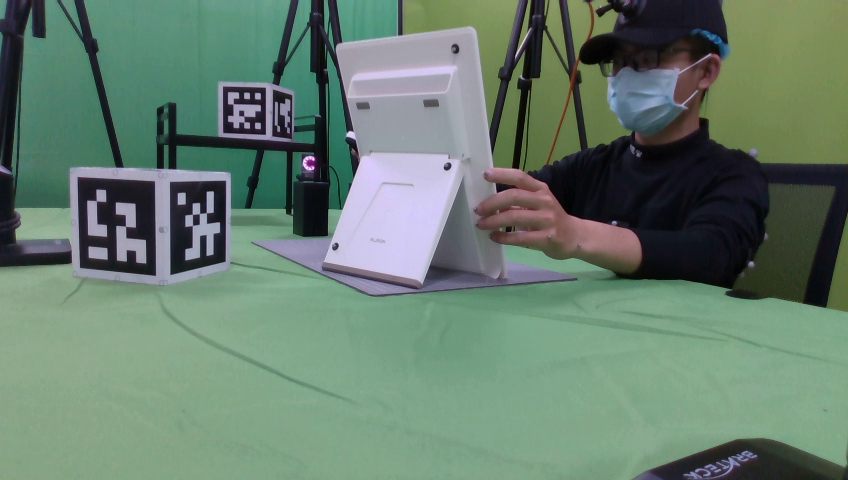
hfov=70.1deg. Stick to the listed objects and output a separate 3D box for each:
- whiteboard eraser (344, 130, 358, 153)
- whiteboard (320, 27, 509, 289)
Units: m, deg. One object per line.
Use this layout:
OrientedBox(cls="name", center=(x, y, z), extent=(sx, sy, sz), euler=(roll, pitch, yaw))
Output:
OrientedBox(cls="whiteboard eraser", center=(-0.100, -0.156, 1.029), extent=(0.041, 0.019, 0.102), euler=(23, -10, 32))
OrientedBox(cls="whiteboard", center=(-0.045, -0.076, 0.721), extent=(0.216, 0.305, 0.144), euler=(9, 29, 39))
